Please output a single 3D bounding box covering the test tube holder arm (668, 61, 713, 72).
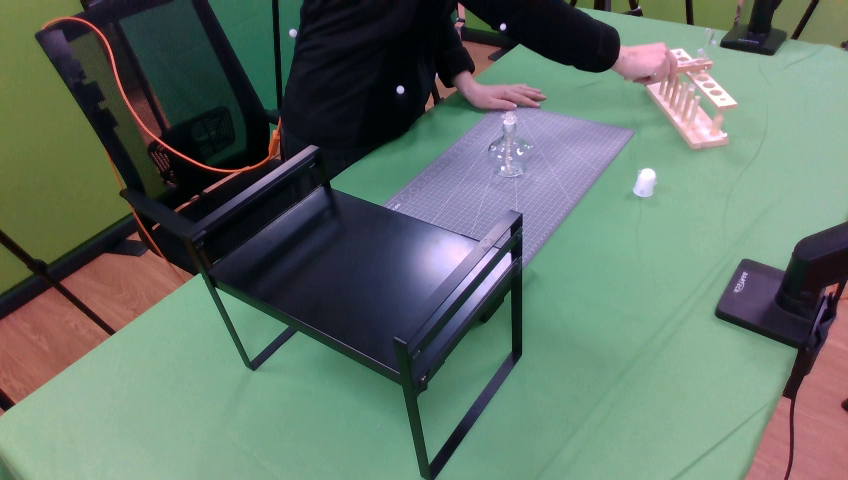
[{"bbox_3d":[0.501,-0.326,1.139,0.088,0.015,0.010,-5,44,-5],"label":"test tube holder arm"}]

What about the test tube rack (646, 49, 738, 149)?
[{"bbox_3d":[0.512,-0.280,1.175,0.067,0.085,0.241,-7,40,0],"label":"test tube rack"}]

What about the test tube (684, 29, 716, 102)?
[{"bbox_3d":[0.524,-0.327,1.150,0.017,0.151,0.017,0,44,0],"label":"test tube"}]

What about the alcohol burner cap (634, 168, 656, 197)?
[{"bbox_3d":[0.374,-0.099,1.018,0.034,0.048,0.033,-1,41,1],"label":"alcohol burner cap"}]

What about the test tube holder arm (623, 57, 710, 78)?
[{"bbox_3d":[0.456,-0.324,1.136,0.179,0.015,0.013,-10,44,-11],"label":"test tube holder arm"}]

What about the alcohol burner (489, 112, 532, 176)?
[{"bbox_3d":[0.155,-0.176,1.084,0.078,0.119,0.077,-3,41,3],"label":"alcohol burner"}]
